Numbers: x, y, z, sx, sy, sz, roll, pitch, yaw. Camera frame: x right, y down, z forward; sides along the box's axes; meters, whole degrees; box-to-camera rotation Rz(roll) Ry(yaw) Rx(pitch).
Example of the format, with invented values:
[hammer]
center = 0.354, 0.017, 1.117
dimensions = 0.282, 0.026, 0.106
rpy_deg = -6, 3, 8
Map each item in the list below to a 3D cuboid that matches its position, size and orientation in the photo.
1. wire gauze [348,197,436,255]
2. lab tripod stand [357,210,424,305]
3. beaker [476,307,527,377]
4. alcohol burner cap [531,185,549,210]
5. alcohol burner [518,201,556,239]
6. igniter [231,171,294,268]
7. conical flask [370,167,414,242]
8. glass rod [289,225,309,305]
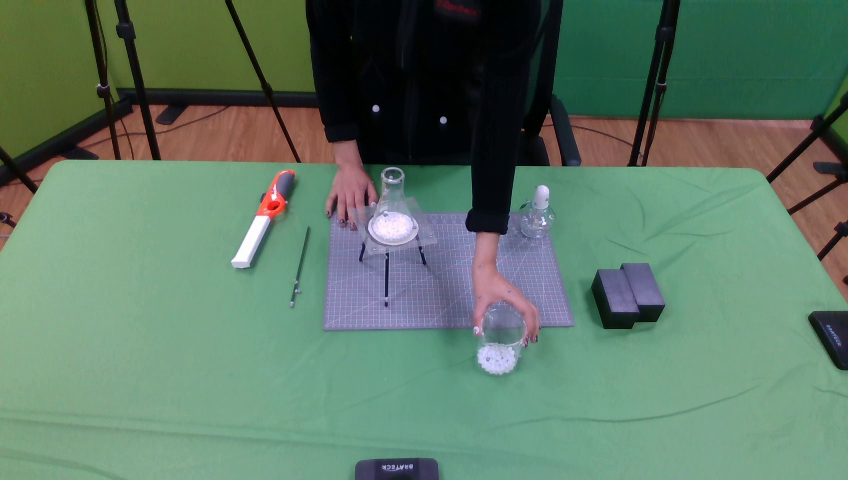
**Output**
[wire gauze]
center = -0.056, -0.025, 1.046
dimensions = 0.125, 0.011, 0.120
rpy_deg = -13, 46, -15
[lab tripod stand]
center = -0.061, 0.021, 1.094
dimensions = 0.148, 0.132, 0.147
rpy_deg = 3, 44, -3
[beaker]
center = 0.122, 0.171, 0.991
dimensions = 0.084, 0.101, 0.073
rpy_deg = -33, 56, -30
[alcohol burner cap]
center = 0.228, -0.085, 1.183
dimensions = 0.034, 0.048, 0.033
rpy_deg = -1, 47, 2
[alcohol burner]
center = 0.227, -0.061, 1.210
dimensions = 0.078, 0.120, 0.077
rpy_deg = 1, 45, -1
[igniter]
center = -0.321, -0.050, 1.220
dimensions = 0.057, 0.025, 0.275
rpy_deg = 2, 45, 12
[conical flask]
center = -0.053, -0.062, 1.000
dimensions = 0.075, 0.122, 0.075
rpy_deg = 2, 43, -2
[glass rod]
center = -0.236, 0.043, 1.149
dimensions = 0.008, 0.008, 0.198
rpy_deg = 3, 46, -1
